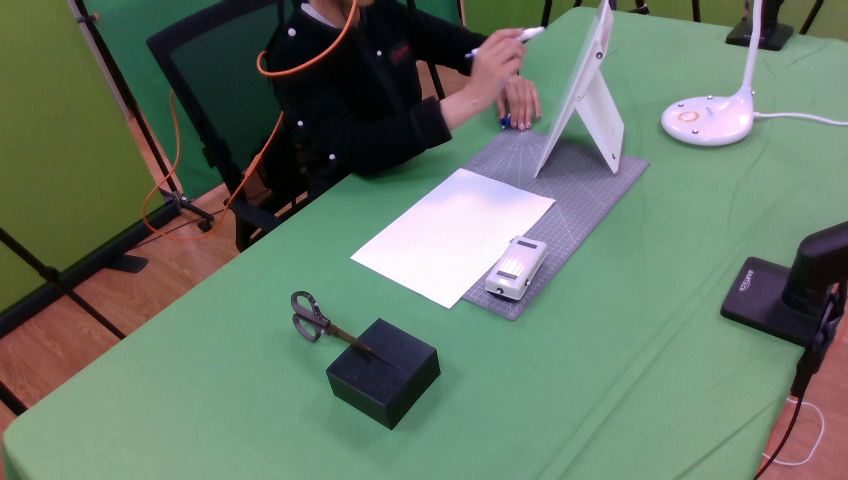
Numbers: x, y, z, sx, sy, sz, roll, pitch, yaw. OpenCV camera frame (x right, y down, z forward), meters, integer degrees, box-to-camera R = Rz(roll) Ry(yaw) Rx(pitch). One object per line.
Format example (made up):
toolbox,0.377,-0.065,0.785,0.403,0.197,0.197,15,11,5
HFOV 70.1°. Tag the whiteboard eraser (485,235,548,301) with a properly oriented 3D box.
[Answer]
whiteboard eraser,0.137,0.042,0.887,0.055,0.042,0.113,15,46,27

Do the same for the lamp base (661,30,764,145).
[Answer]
lamp base,0.535,-0.287,1.096,0.179,0.181,0.159,-10,40,-4

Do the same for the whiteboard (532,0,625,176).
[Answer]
whiteboard,0.320,-0.258,1.050,0.144,0.306,0.217,21,45,5

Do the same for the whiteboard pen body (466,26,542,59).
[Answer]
whiteboard pen body,0.142,-0.352,1.071,0.140,0.017,0.017,-19,40,6

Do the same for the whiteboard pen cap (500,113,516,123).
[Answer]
whiteboard pen cap,0.170,-0.246,1.224,0.033,0.018,0.018,-20,40,-32

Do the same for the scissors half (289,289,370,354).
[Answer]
scissors half,-0.128,0.110,0.809,0.013,0.040,0.173,-17,36,-43

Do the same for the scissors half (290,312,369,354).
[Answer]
scissors half,-0.128,0.129,0.816,0.013,0.040,0.173,-23,21,-40
